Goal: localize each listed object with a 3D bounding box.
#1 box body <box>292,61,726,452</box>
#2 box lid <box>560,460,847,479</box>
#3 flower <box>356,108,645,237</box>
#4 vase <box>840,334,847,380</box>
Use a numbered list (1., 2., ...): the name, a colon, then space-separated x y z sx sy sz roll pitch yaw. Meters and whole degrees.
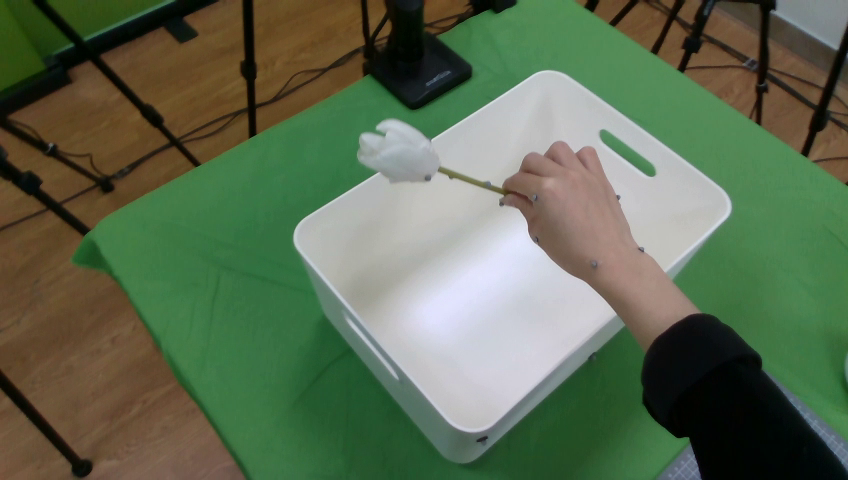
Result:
1. box body: 0.085 0.011 0.638 0.364 0.161 0.252 -36 66 -21
2. box lid: 0.265 0.339 0.531 0.372 0.015 0.260 -3 59 -3
3. flower: 0.098 -0.041 0.541 0.365 0.044 0.038 15 44 -38
4. vase: 0.497 0.092 0.580 0.098 0.201 0.097 1 57 -1
